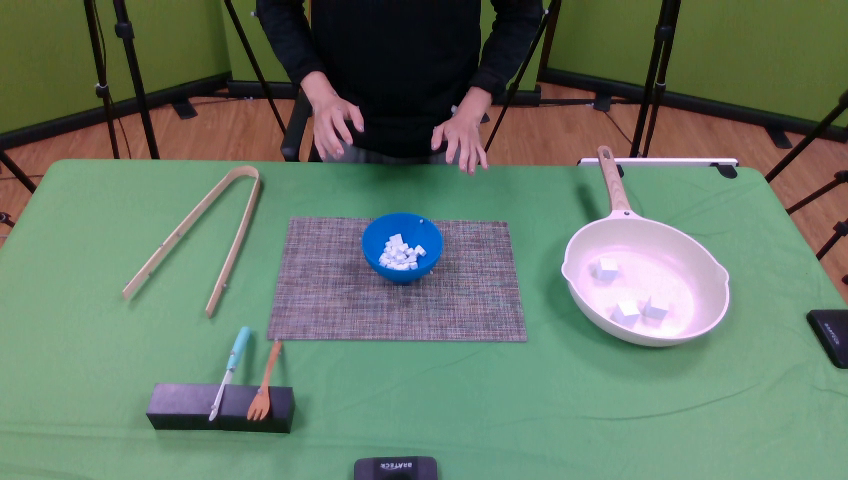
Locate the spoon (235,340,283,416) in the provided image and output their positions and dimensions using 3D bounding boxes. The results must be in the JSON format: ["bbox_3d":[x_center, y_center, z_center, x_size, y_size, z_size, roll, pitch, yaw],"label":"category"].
[{"bbox_3d":[-0.244,0.207,0.932,0.042,0.022,0.193,28,25,-8],"label":"spoon"}]

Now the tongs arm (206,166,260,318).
[{"bbox_3d":[-0.367,-0.010,1.175,0.028,0.028,0.385,2,46,1],"label":"tongs arm"}]

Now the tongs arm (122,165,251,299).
[{"bbox_3d":[-0.447,-0.027,1.179,0.051,0.026,0.383,14,46,8],"label":"tongs arm"}]

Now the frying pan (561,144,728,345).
[{"bbox_3d":[0.397,-0.008,1.179,0.307,0.103,0.485,2,55,-4],"label":"frying pan"}]

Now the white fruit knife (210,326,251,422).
[{"bbox_3d":[-0.300,0.201,0.941,0.016,0.027,0.206,-2,32,1],"label":"white fruit knife"}]

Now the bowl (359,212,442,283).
[{"bbox_3d":[-0.044,0.026,1.125,0.151,0.077,0.150,2,46,-2],"label":"bowl"}]
